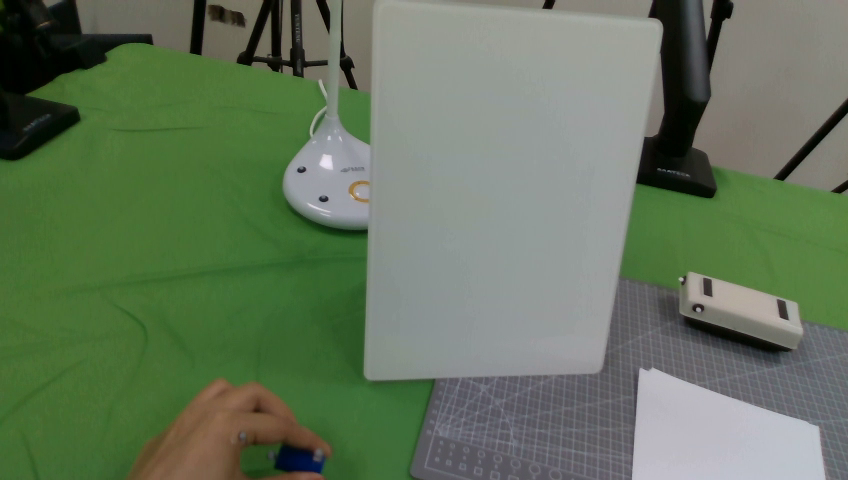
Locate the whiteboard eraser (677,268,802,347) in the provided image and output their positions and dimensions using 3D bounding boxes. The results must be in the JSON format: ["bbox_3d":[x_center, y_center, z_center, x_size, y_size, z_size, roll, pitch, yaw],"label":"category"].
[{"bbox_3d":[0.314,0.069,0.612,0.112,0.042,0.055,18,40,11],"label":"whiteboard eraser"}]

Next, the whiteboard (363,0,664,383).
[{"bbox_3d":[0.055,-0.045,0.542,0.218,0.307,0.142,1,20,-9],"label":"whiteboard"}]

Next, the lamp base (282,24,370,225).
[{"bbox_3d":[-0.085,-0.136,0.681,0.161,0.181,0.177,-19,44,-31],"label":"lamp base"}]

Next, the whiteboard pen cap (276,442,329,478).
[{"bbox_3d":[-0.081,0.148,0.405,0.033,0.018,0.018,18,38,-1],"label":"whiteboard pen cap"}]
